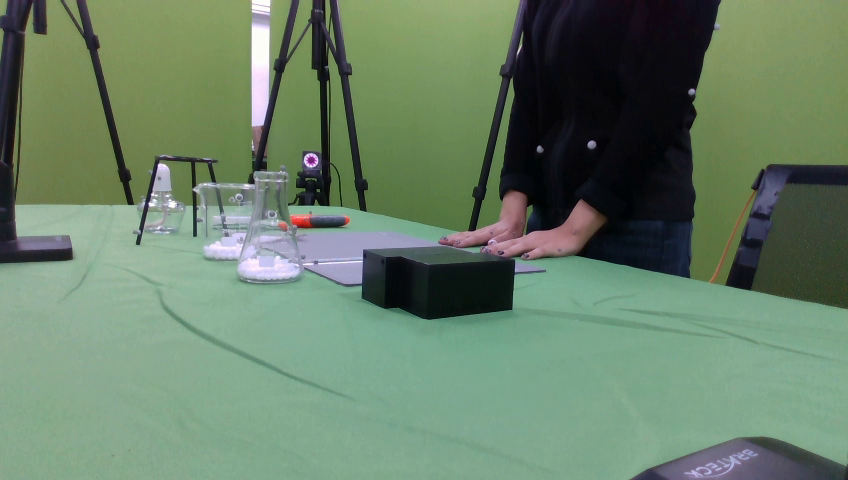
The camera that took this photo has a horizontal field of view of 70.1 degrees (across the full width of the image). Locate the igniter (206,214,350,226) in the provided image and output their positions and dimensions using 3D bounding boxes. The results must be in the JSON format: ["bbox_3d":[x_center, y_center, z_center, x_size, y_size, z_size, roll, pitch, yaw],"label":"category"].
[{"bbox_3d":[-0.279,-0.038,1.185,0.278,0.025,0.057,-2,-1,-30],"label":"igniter"}]

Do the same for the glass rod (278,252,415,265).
[{"bbox_3d":[-0.097,0.024,0.805,0.201,0.008,0.008,-3,8,-33],"label":"glass rod"}]

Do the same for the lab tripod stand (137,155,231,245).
[{"bbox_3d":[-0.358,-0.062,0.927,0.148,0.131,0.148,4,6,0],"label":"lab tripod stand"}]

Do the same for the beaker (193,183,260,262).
[{"bbox_3d":[-0.262,-0.024,0.806,0.084,0.100,0.073,-3,9,-30],"label":"beaker"}]

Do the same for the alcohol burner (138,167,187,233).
[{"bbox_3d":[-0.450,-0.070,1.044,0.078,0.119,0.078,4,8,0],"label":"alcohol burner"}]

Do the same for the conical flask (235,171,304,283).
[{"bbox_3d":[-0.172,-0.016,0.677,0.075,0.122,0.075,2,7,0],"label":"conical flask"}]

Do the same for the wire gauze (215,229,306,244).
[{"bbox_3d":[-0.273,-0.009,1.013,0.122,0.011,0.124,-2,9,-33],"label":"wire gauze"}]

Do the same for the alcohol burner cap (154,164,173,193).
[{"bbox_3d":[-0.450,-0.106,1.038,0.034,0.048,0.034,3,13,0],"label":"alcohol burner cap"}]
